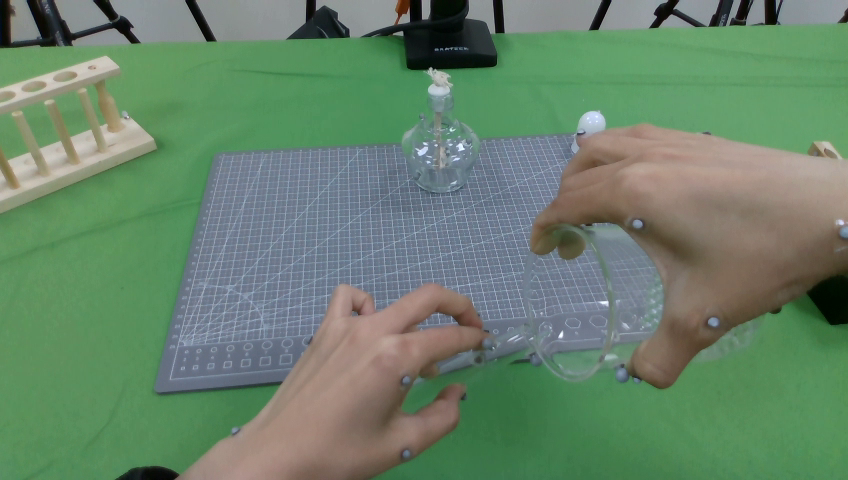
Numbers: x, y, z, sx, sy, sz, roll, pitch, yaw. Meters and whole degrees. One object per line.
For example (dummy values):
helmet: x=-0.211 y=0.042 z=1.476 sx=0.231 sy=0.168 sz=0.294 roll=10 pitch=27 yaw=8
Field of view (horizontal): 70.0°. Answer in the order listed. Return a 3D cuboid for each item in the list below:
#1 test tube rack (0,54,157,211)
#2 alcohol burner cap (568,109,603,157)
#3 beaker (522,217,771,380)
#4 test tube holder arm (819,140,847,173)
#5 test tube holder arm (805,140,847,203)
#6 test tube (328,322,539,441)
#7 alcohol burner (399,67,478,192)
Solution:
test tube rack: x=-0.399 y=-0.091 z=0.582 sx=0.242 sy=0.086 sz=0.066 roll=-32 pitch=52 yaw=-30
alcohol burner cap: x=0.173 y=-0.116 z=0.643 sx=0.034 sy=0.048 sz=0.033 roll=1 pitch=43 yaw=0
beaker: x=0.109 y=0.028 z=0.303 sx=0.101 sy=0.084 sz=0.073 roll=-3 pitch=60 yaw=-20
test tube holder arm: x=0.372 y=-0.029 z=0.506 sx=0.013 sy=0.015 sz=0.176 roll=-7 pitch=43 yaw=4
test tube holder arm: x=0.365 y=-0.059 z=0.538 sx=0.010 sy=0.015 sz=0.087 roll=-7 pitch=43 yaw=4
test tube: x=0.000 y=0.085 z=0.349 sx=0.150 sy=0.017 sz=0.017 roll=-32 pitch=37 yaw=25
alcohol burner: x=0.014 y=-0.107 z=0.580 sx=0.078 sy=0.120 sz=0.077 roll=-1 pitch=42 yaw=1
